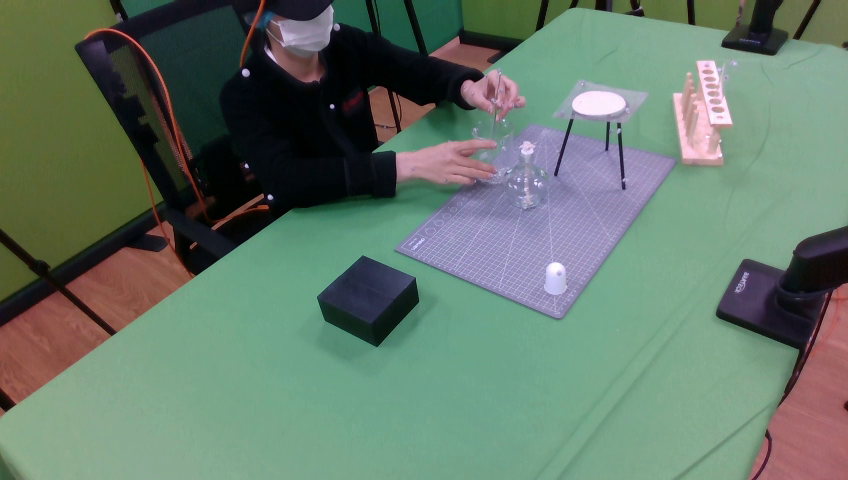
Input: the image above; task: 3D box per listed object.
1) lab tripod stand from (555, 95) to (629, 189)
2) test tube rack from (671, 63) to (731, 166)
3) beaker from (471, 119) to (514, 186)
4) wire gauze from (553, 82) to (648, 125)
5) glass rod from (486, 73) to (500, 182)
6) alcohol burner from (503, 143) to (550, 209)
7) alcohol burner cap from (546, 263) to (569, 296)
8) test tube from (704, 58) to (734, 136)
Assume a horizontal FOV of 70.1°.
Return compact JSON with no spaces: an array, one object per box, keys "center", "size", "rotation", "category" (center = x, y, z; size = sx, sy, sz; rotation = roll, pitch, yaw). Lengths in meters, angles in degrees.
[{"center":[0.300,-0.174,1.045],"size":[0.148,0.132,0.147],"rotation":[-5,38,5],"category":"lab tripod stand"},{"center":[0.513,-0.241,1.132],"size":[0.066,0.085,0.242],"rotation":[4,41,14],"category":"test tube rack"},{"center":[0.125,-0.155,1.077],"size":[0.084,0.101,0.073],"rotation":[-35,47,-29],"category":"beaker"},{"center":[0.293,-0.225,1.002],"size":[0.120,0.011,0.125],"rotation":[17,45,27],"category":"wire gauze"},{"center":[0.118,-0.188,1.036],"size":[0.008,0.200,0.008],"rotation":[2,35,-1],"category":"glass rod"},{"center":[0.171,-0.112,1.006],"size":[0.078,0.119,0.077],"rotation":[-3,41,3],"category":"alcohol burner"},{"center":[0.191,0.053,0.862],"size":[0.034,0.048,0.033],"rotation":[-5,40,4],"category":"alcohol burner cap"},{"center":[0.517,-0.247,1.062],"size":[0.017,0.151,0.017],"rotation":[-3,43,4],"category":"test tube"}]
